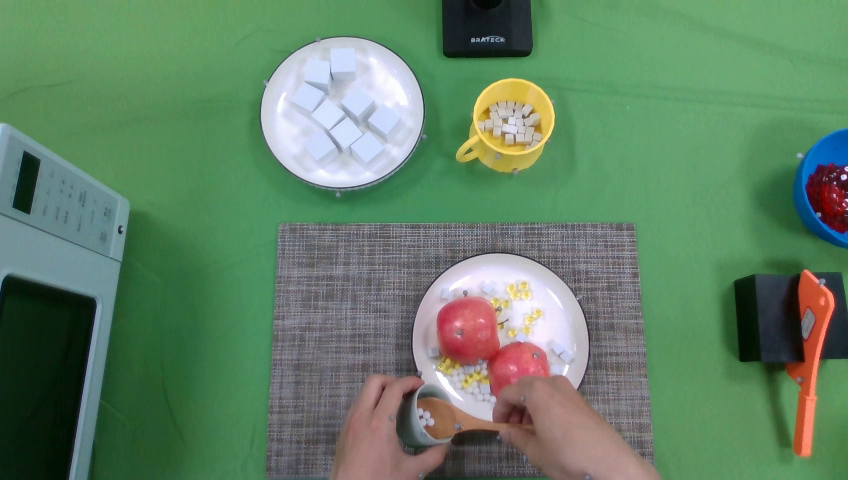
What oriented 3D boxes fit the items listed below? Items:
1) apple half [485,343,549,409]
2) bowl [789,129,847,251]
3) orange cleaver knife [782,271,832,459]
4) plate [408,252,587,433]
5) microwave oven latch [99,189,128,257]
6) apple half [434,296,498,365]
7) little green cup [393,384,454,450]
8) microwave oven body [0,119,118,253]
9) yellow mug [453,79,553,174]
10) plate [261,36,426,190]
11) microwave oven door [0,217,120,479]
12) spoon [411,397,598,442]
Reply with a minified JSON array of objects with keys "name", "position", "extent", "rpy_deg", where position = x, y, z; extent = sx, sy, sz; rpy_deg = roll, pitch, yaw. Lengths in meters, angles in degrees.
[{"name":"apple half","position":[0.109,0.157,0.700],"extent":[0.081,0.033,0.081],"rpy_deg":[0,75,0]},{"name":"bowl","position":[0.510,-0.051,0.739],"extent":[0.151,0.077,0.150],"rpy_deg":[0,78,0]},{"name":"orange cleaver knife","position":[0.431,0.143,0.693],"extent":[0.012,0.077,0.212],"rpy_deg":[1,101,4]},{"name":"plate","position":[0.085,0.119,0.714],"extent":[0.209,0.038,0.208],"rpy_deg":[0,78,-1]},{"name":"microwave oven latch","position":[-0.378,-0.021,0.726],"extent":[0.030,0.029,0.079],"rpy_deg":[5,78,0]},{"name":"apple half","position":[0.048,0.104,0.702],"extent":[0.074,0.053,0.080],"rpy_deg":[-2,78,2]},{"name":"little green cup","position":[-0.001,0.185,0.626],"extent":[0.062,0.039,0.061],"rpy_deg":[27,41,-25]},{"name":"microwave oven body","position":[-0.536,0.121,0.594],"extent":[0.326,0.261,0.439],"rpy_deg":[3,78,0]},{"name":"yellow mug","position":[0.094,-0.134,0.760],"extent":[0.131,0.064,0.099],"rpy_deg":[-31,79,-6]},{"name":"plate","position":[-0.101,-0.161,0.778],"extent":[0.208,0.039,0.206],"rpy_deg":[0,78,0]},{"name":"microwave oven door","position":[-0.392,0.170,0.580],"extent":[0.039,0.245,0.354],"rpy_deg":[3,77,1]},{"name":"spoon","position":[0.069,0.181,0.588],"extent":[0.193,0.022,0.041],"rpy_deg":[-1,78,26]}]
